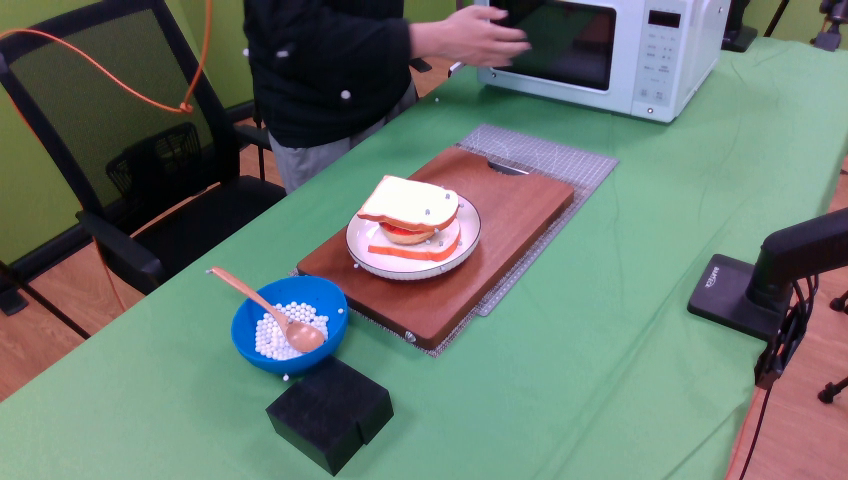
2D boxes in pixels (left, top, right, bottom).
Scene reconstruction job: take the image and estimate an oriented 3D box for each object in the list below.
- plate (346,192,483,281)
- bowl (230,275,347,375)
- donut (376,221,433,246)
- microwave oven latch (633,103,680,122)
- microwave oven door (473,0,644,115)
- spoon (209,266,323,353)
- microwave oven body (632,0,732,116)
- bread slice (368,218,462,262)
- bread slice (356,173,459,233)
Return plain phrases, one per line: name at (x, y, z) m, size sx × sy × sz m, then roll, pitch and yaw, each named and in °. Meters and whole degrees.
plate at (-0.013, -0.008, 0.922) m, size 0.207 × 0.039 × 0.206 m, roll -4°, pitch 40°, yaw 4°
bowl at (-0.171, 0.125, 0.802) m, size 0.151 × 0.077 × 0.150 m, roll -4°, pitch 40°, yaw 4°
donut at (-0.023, -0.031, 0.906) m, size 0.099 × 0.048 × 0.098 m, roll -9°, pitch 42°, yaw 9°
microwave oven latch at (0.444, -0.249, 1.157) m, size 0.078 × 0.029 × 0.030 m, roll 21°, pitch 49°, yaw 30°
microwave oven door at (0.257, -0.396, 1.199) m, size 0.353 × 0.245 × 0.039 m, roll 21°, pitch 48°, yaw 29°
spoon at (-0.213, 0.088, 0.806) m, size 0.193 × 0.021 × 0.042 m, roll 36°, pitch 56°, yaw 11°
microwave oven body at (0.377, -0.462, 1.267) m, size 0.438 × 0.261 × 0.327 m, roll 21°, pitch 48°, yaw 30°
bread slice at (-0.008, -0.009, 0.928) m, size 0.131 × 0.019 × 0.105 m, roll 7°, pitch 44°, yaw 20°
bread slice at (-0.018, -0.053, 0.886) m, size 0.134 × 0.018 × 0.107 m, roll 12°, pitch 43°, yaw 12°
